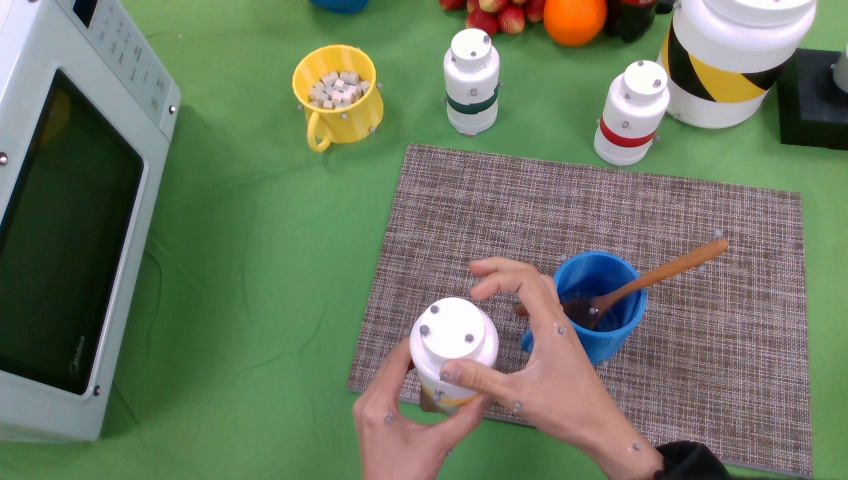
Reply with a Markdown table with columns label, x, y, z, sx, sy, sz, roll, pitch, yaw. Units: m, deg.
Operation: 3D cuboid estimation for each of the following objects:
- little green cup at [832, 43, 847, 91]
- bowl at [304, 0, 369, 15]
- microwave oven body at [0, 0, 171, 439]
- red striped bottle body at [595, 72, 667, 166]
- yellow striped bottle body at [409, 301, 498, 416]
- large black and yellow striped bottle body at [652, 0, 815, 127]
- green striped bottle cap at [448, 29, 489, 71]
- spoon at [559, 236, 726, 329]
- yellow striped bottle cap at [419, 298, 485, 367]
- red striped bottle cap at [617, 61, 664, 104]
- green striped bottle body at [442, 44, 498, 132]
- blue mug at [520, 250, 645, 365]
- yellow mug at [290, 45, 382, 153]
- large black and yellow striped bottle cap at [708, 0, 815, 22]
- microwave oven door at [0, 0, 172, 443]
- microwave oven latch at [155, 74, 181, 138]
| label | x | y | z | sx | sy | sz | roll | pitch | yaw |
| --- | --- | --- | --- | --- | --- | --- | --- | --- | --- |
| little green cup | 0.479 | -0.189 | 0.656 | 0.061 | 0.039 | 0.061 | -1 | 64 | 2 |
| bowl | -0.115 | -0.361 | 0.818 | 0.151 | 0.077 | 0.150 | -2 | 66 | 4 |
| microwave oven body | -0.486 | -0.044 | 0.602 | 0.326 | 0.262 | 0.438 | 0 | 66 | 5 |
| red striped bottle body | 0.227 | -0.138 | 0.665 | 0.063 | 0.121 | 0.062 | -3 | 64 | 6 |
| yellow striped bottle body | 0.023 | 0.086 | 0.450 | 0.063 | 0.121 | 0.062 | -2 | 60 | 4 |
| large black and yellow striped bottle body | 0.332 | -0.226 | 0.660 | 0.131 | 0.185 | 0.129 | -2 | 66 | 5 |
| green striped bottle cap | 0.048 | -0.206 | 0.653 | 0.044 | 0.020 | 0.044 | -1 | 65 | 3 |
| spoon | 0.182 | 0.045 | 0.543 | 0.022 | 0.194 | 0.041 | 9 | 59 | -30 |
| yellow striped bottle cap | 0.019 | 0.061 | 0.404 | 0.044 | 0.019 | 0.044 | -3 | 59 | 5 |
| red striped bottle cap | 0.221 | -0.161 | 0.618 | 0.044 | 0.018 | 0.044 | 0 | 65 | 0 |
| green striped bottle body | 0.054 | -0.184 | 0.700 | 0.063 | 0.120 | 0.062 | -2 | 66 | 4 |
| blue mug | 0.144 | 0.075 | 0.581 | 0.116 | 0.107 | 0.081 | -26 | 65 | -7 |
| yellow mug | -0.111 | -0.164 | 0.735 | 0.099 | 0.064 | 0.130 | 18 | 69 | 12 |
| large black and yellow striped bottle cap | 0.324 | -0.259 | 0.584 | 0.115 | 0.019 | 0.114 | -2 | 64 | 5 |
| microwave oven door | -0.342 | -0.008 | 0.568 | 0.039 | 0.246 | 0.353 | 0 | 66 | 6 |
| microwave oven latch | -0.324 | -0.165 | 0.749 | 0.030 | 0.030 | 0.078 | 2 | 67 | 5 |
